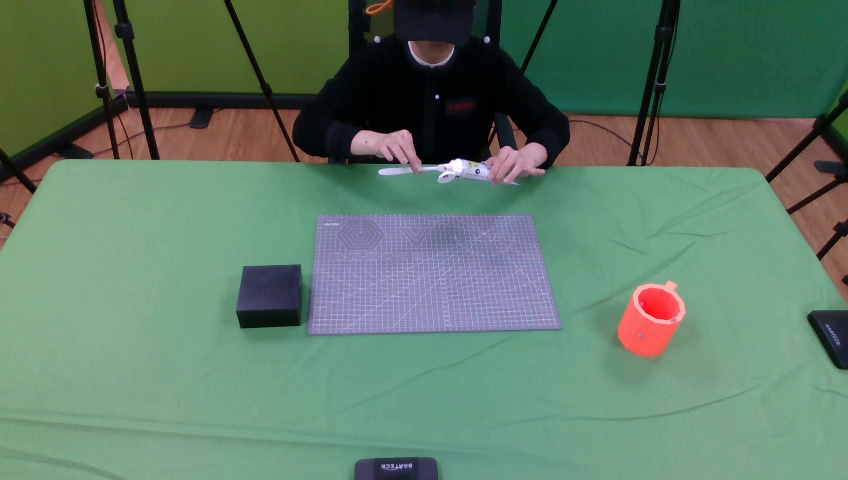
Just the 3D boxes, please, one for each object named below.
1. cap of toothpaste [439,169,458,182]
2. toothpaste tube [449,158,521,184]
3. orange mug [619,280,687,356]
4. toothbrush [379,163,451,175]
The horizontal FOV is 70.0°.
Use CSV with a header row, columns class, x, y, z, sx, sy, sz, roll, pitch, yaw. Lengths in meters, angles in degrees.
class,x,y,z,sx,sy,sz,roll,pitch,yaw
cap of toothpaste,0.043,-0.119,1.105,0.037,0.037,0.011,-13,72,-16
toothpaste tube,0.114,-0.131,1.162,0.166,0.034,0.054,2,42,-34
orange mug,0.401,0.125,1.045,0.083,0.101,0.126,30,56,24
toothbrush,-0.020,-0.136,1.162,0.181,0.014,0.016,1,29,42
